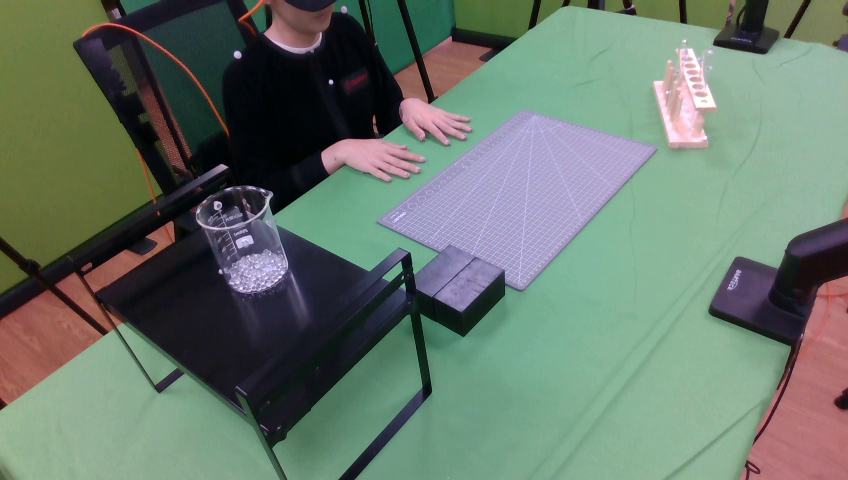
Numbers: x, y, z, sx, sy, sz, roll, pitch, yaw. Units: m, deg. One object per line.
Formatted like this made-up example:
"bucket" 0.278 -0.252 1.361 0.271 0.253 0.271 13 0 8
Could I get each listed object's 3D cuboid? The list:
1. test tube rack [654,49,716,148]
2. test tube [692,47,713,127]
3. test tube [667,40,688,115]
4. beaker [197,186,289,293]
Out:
"test tube rack" 0.502 -0.281 1.176 0.066 0.085 0.241 1 41 11
"test tube" 0.501 -0.272 1.090 0.017 0.151 0.017 -5 37 5
"test tube" 0.477 -0.303 1.138 0.017 0.151 0.017 -5 42 5
"beaker" -0.192 0.001 0.666 0.084 0.101 0.073 -33 47 -27
